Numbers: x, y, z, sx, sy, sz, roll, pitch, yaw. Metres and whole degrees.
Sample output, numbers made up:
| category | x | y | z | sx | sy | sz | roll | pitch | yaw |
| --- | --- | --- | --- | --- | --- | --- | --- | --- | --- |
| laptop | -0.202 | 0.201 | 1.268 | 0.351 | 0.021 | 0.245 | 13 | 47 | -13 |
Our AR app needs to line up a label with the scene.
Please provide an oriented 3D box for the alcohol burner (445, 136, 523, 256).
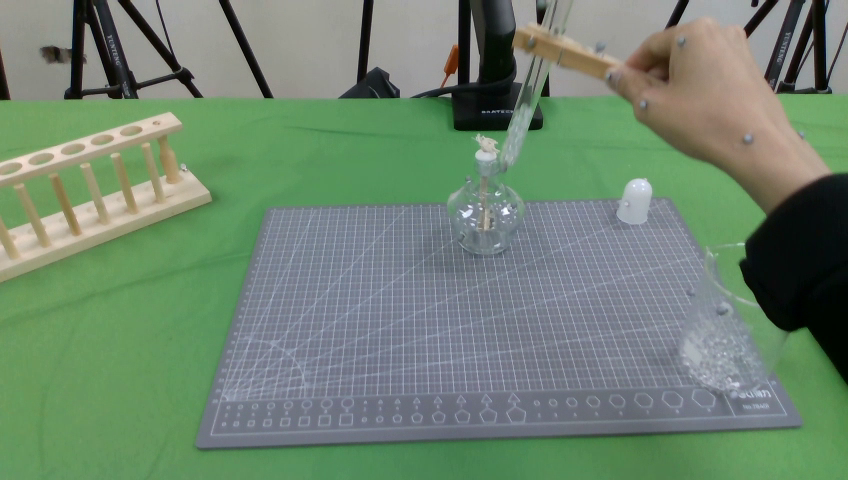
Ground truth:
| category | x | y | z | sx | sy | sz | roll | pitch | yaw |
| --- | --- | --- | --- | --- | --- | --- | --- | --- | --- |
| alcohol burner | 0.058 | -0.045 | 0.588 | 0.078 | 0.120 | 0.077 | -1 | 37 | 1 |

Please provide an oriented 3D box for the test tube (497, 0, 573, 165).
| category | x | y | z | sx | sy | sz | roll | pitch | yaw |
| --- | --- | --- | --- | --- | --- | --- | --- | --- | --- |
| test tube | 0.080 | -0.118 | 0.443 | 0.017 | 0.151 | 0.017 | 9 | 41 | -7 |

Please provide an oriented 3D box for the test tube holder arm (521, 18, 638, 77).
| category | x | y | z | sx | sy | sz | roll | pitch | yaw |
| --- | --- | --- | --- | --- | --- | --- | --- | --- | --- |
| test tube holder arm | 0.110 | -0.134 | 0.424 | 0.088 | 0.010 | 0.015 | 22 | 32 | 4 |

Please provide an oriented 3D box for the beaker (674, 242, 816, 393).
| category | x | y | z | sx | sy | sz | roll | pitch | yaw |
| --- | --- | --- | --- | --- | --- | --- | --- | --- | --- |
| beaker | 0.237 | 0.061 | 0.467 | 0.074 | 0.101 | 0.083 | -20 | 42 | -23 |

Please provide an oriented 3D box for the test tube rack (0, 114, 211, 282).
| category | x | y | z | sx | sy | sz | roll | pitch | yaw |
| --- | --- | --- | --- | --- | --- | --- | --- | --- | --- |
| test tube rack | -0.353 | -0.044 | 0.614 | 0.242 | 0.086 | 0.066 | -27 | 46 | -29 |

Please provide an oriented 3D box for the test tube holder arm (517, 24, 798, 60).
| category | x | y | z | sx | sy | sz | roll | pitch | yaw |
| --- | --- | --- | --- | --- | --- | --- | --- | --- | --- |
| test tube holder arm | 0.154 | -0.134 | 0.412 | 0.178 | 0.013 | 0.015 | -1 | 26 | 16 |

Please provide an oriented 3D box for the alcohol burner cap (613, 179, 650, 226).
| category | x | y | z | sx | sy | sz | roll | pitch | yaw |
| --- | --- | --- | --- | --- | --- | --- | --- | --- | --- |
| alcohol burner cap | 0.221 | -0.042 | 0.642 | 0.034 | 0.048 | 0.033 | 0 | 39 | 0 |
